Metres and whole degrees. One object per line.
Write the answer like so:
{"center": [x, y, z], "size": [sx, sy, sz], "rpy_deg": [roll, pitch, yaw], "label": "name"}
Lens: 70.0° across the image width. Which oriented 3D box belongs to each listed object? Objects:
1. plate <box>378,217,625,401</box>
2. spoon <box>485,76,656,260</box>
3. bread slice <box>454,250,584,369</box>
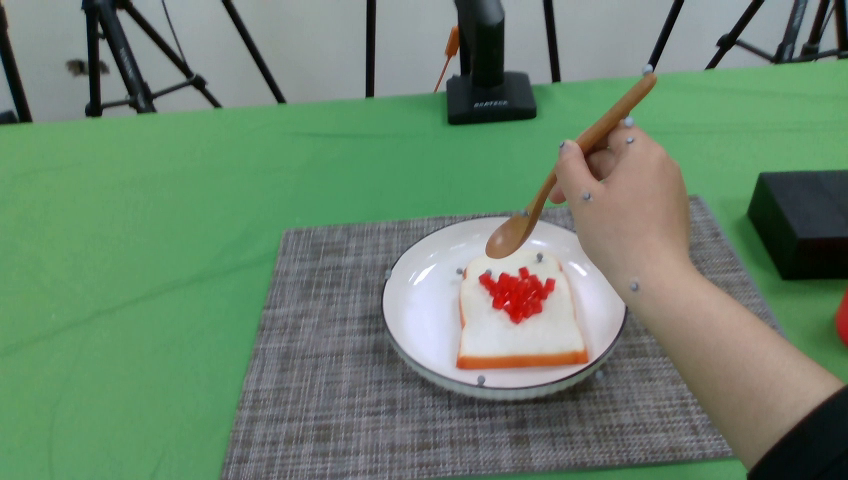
{"center": [0.065, 0.057, 0.530], "size": [0.209, 0.038, 0.207], "rpy_deg": [-4, 40, 3], "label": "plate"}
{"center": [0.096, -0.044, 0.435], "size": [0.022, 0.194, 0.041], "rpy_deg": [23, 48, -9], "label": "spoon"}
{"center": [0.077, 0.057, 0.532], "size": [0.105, 0.019, 0.130], "rpy_deg": [-2, 41, 3], "label": "bread slice"}
